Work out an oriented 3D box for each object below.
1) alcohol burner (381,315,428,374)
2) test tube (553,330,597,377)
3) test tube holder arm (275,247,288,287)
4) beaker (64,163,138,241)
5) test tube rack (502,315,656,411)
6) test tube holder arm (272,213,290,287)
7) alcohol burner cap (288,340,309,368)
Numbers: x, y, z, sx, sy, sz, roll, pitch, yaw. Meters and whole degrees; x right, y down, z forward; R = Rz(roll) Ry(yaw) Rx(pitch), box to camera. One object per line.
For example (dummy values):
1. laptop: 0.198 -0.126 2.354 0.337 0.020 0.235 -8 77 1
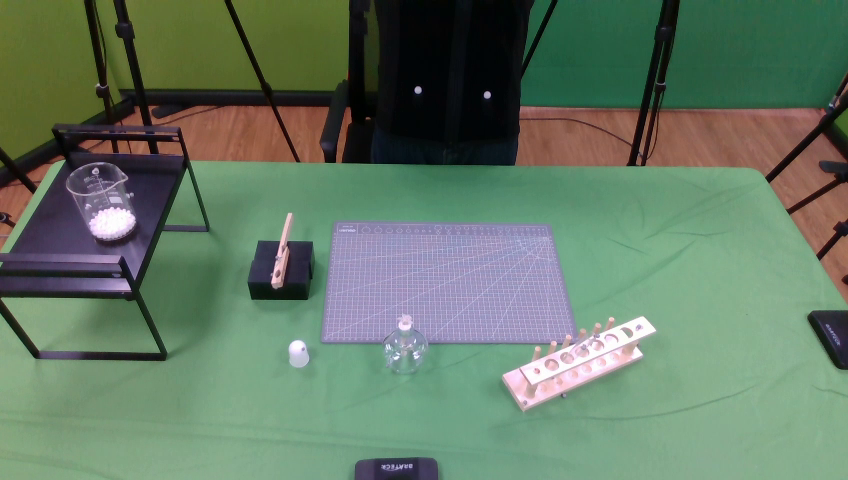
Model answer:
1. alcohol burner: -0.031 0.162 0.973 0.078 0.120 0.077 2 44 -1
2. test tube: 0.226 0.176 0.924 0.017 0.151 0.017 6 55 -9
3. test tube holder arm: -0.251 0.046 1.067 0.010 0.015 0.087 -1 45 -3
4. beaker: -0.477 -0.055 0.910 0.084 0.101 0.073 -9 48 -13
5. test tube rack: 0.253 0.186 0.989 0.242 0.085 0.066 -18 50 -20
6. test tube holder arm: -0.259 0.015 1.099 0.013 0.015 0.177 -2 45 -3
7. alcohol burner cap: -0.207 0.183 0.991 0.034 0.048 0.033 3 46 -3
